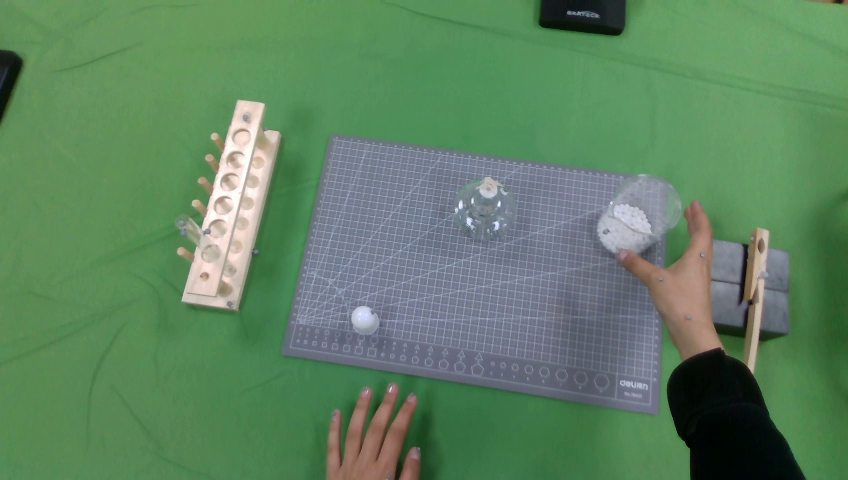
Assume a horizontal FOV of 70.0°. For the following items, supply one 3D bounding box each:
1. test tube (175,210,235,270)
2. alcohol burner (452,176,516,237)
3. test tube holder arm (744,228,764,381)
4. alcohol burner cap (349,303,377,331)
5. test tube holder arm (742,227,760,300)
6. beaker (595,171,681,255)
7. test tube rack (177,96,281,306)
[{"bbox_3d":[-0.239,0.003,0.672,0.017,0.151,0.017,0,68,1],"label":"test tube"},{"bbox_3d":[0.073,-0.046,0.723,0.078,0.120,0.077,-1,73,2],"label":"alcohol burner"},{"bbox_3d":[0.378,0.072,0.692,0.013,0.015,0.177,9,75,5],"label":"test tube holder arm"},{"bbox_3d":[-0.074,0.089,0.719,0.034,0.048,0.033,0,74,-1],"label":"alcohol burner cap"},{"bbox_3d":[0.381,0.028,0.704,0.010,0.015,0.087,11,75,5],"label":"test tube holder arm"},{"bbox_3d":[0.248,-0.027,0.725,0.084,0.101,0.073,-13,73,-3],"label":"beaker"},{"bbox_3d":[-0.243,-0.049,0.740,0.067,0.085,0.241,9,73,3],"label":"test tube rack"}]
